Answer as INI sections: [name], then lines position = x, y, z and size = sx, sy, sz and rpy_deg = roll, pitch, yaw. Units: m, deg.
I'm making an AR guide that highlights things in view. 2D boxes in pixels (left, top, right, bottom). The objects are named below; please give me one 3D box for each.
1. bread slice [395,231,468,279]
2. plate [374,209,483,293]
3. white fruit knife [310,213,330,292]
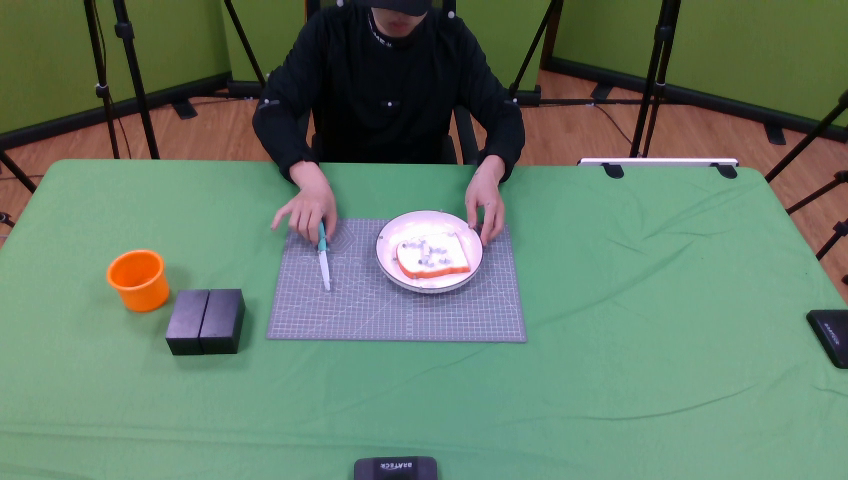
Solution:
[bread slice]
position = 0.011, 0.029, 1.158
size = 0.132, 0.019, 0.104
rpy_deg = -9, 48, -14
[plate]
position = 0.009, 0.024, 1.160
size = 0.209, 0.038, 0.208
rpy_deg = 2, 46, -2
[white fruit knife]
position = -0.197, 0.019, 1.159
size = 0.016, 0.027, 0.206
rpy_deg = 18, 37, -35
